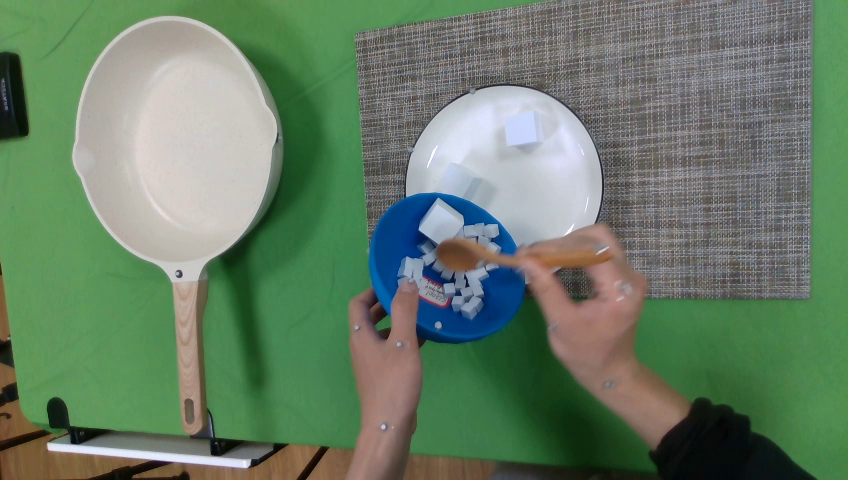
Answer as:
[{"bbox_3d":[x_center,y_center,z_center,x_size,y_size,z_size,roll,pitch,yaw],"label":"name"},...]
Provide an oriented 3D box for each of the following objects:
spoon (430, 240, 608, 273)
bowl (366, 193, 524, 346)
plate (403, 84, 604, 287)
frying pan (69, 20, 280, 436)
[{"bbox_3d":[0.066,0.016,0.476,0.042,0.021,0.192,48,157,-23],"label":"spoon"},{"bbox_3d":[0.010,0.039,0.572,0.151,0.151,0.077,47,143,10],"label":"bowl"},{"bbox_3d":[0.080,-0.054,0.629,0.207,0.039,0.208,2,97,20],"label":"plate"},{"bbox_3d":[-0.293,-0.009,0.738,0.306,0.103,0.487,-4,86,21],"label":"frying pan"}]
